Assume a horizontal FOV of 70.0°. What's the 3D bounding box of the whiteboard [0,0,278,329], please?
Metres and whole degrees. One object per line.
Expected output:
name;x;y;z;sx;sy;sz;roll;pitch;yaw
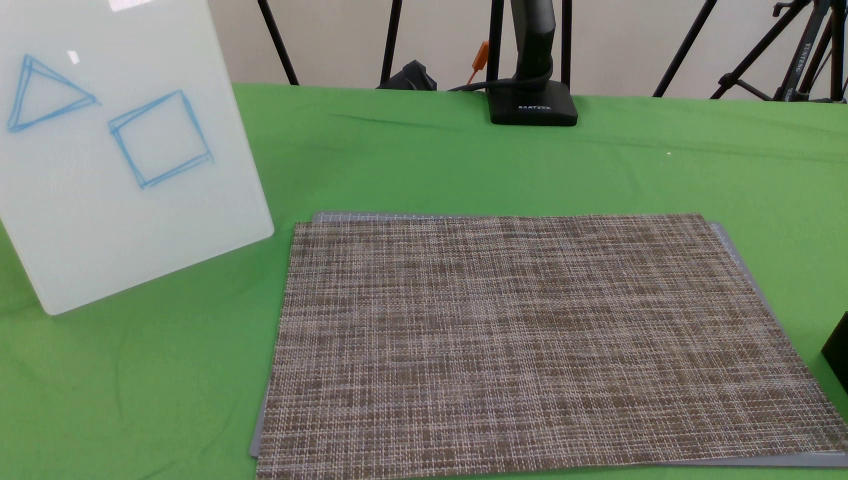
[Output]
whiteboard;-0.303;-0.113;0.579;0.217;0.307;0.142;-23;26;-27
